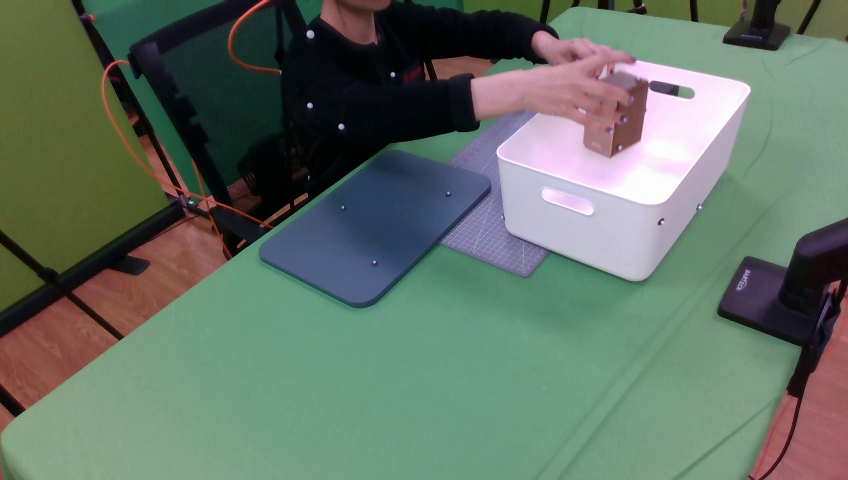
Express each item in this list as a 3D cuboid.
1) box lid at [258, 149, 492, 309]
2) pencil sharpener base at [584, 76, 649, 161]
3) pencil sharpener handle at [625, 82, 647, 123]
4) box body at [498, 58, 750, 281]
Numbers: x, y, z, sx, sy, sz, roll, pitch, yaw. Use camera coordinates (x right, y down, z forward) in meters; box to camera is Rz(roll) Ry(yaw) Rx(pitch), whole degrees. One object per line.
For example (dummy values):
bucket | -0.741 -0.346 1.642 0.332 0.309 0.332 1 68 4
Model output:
box lid | -0.078 -0.040 1.052 0.261 0.015 0.372 22 49 32
pencil sharpener base | 0.297 -0.188 0.932 0.077 0.107 0.061 -27 42 -26
pencil sharpener handle | 0.337 -0.219 0.946 0.031 0.068 0.035 -27 39 -26
box body | 0.315 -0.125 0.958 0.252 0.161 0.365 23 50 32
